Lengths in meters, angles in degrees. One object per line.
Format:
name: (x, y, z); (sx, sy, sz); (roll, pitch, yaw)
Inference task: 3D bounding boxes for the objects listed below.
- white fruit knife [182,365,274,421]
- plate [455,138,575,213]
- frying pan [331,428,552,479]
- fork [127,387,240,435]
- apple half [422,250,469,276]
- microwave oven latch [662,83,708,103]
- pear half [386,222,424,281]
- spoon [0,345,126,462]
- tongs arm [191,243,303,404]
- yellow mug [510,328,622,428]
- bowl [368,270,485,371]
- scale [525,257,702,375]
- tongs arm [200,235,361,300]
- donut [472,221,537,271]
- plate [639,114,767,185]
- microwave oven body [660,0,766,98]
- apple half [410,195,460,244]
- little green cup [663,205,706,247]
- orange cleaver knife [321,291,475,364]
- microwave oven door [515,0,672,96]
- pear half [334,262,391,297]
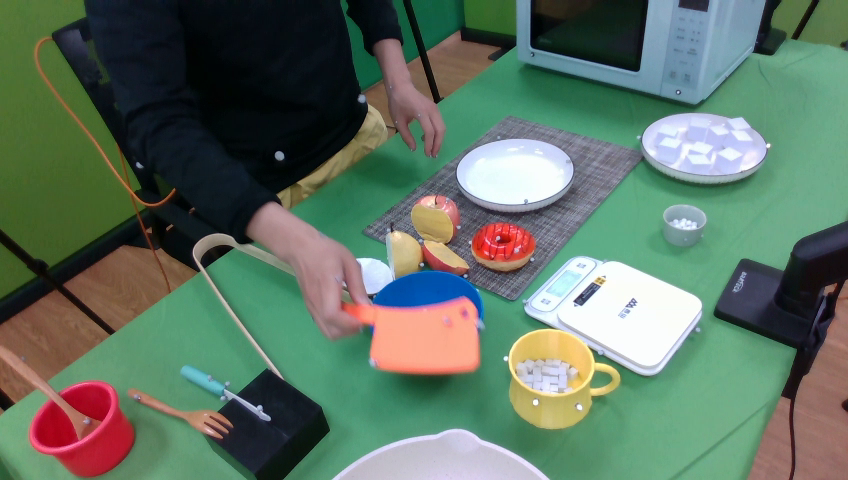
white fruit knife: (-0.245, 0.188, 0.747); (0.205, 0.027, 0.016); (9, 40, 41)
plate: (0.159, -0.111, 1.063); (0.209, 0.038, 0.208); (-4, 40, 4)
frying pan: (-0.089, 0.306, 0.564); (0.487, 0.103, 0.306); (10, 41, 7)
fork: (-0.304, 0.207, 0.746); (0.206, 0.019, 0.028); (3, 42, 34)
apple half: (0.024, 0.040, 0.911); (0.081, 0.033, 0.081); (20, 2, 0)
microwave oven latch: (0.517, -0.296, 1.204); (0.078, 0.029, 0.030); (28, 52, 35)
pear half: (-0.029, 0.013, 0.897); (0.056, 0.110, 0.076); (-17, 46, -10)
spoon: (-0.434, 0.192, 0.720); (0.194, 0.021, 0.042); (47, 54, -7)
tongs arm: (-0.269, 0.109, 0.882); (0.028, 0.028, 0.384); (-35, 46, -18)
yellow mug: (0.169, 0.164, 0.722); (0.130, 0.064, 0.099); (0, 40, 8)
bowl: (0.007, 0.118, 0.792); (0.151, 0.077, 0.150); (-5, 40, 4)
scale: (0.254, 0.091, 0.821); (0.199, 0.032, 0.149); (28, 51, 35)
tongs arm: (-0.209, 0.062, 0.924); (0.381, 0.026, 0.051); (23, 53, 32)
donut: (0.123, 0.008, 0.923); (0.099, 0.048, 0.098); (-3, 38, 3)
plate: (0.489, -0.157, 1.074); (0.207, 0.039, 0.206); (-4, 40, 4)
microwave oven body: (0.472, -0.513, 1.317); (0.438, 0.261, 0.327); (26, 51, 34)
apple half: (0.025, -0.038, 0.970); (0.080, 0.075, 0.053); (12, 40, 28)
little green cup: (0.396, -0.020, 0.926); (0.061, 0.039, 0.061); (-4, 40, 4)
orange cleaver knife: (-0.034, 0.089, 0.628); (0.210, 0.012, 0.077); (-3, 65, 36)
microwave oven door: (0.343, -0.455, 1.259); (0.353, 0.245, 0.039); (26, 51, 33)
pear half: (-0.094, 0.065, 0.907); (0.088, 0.031, 0.070); (-8, 36, -26)
